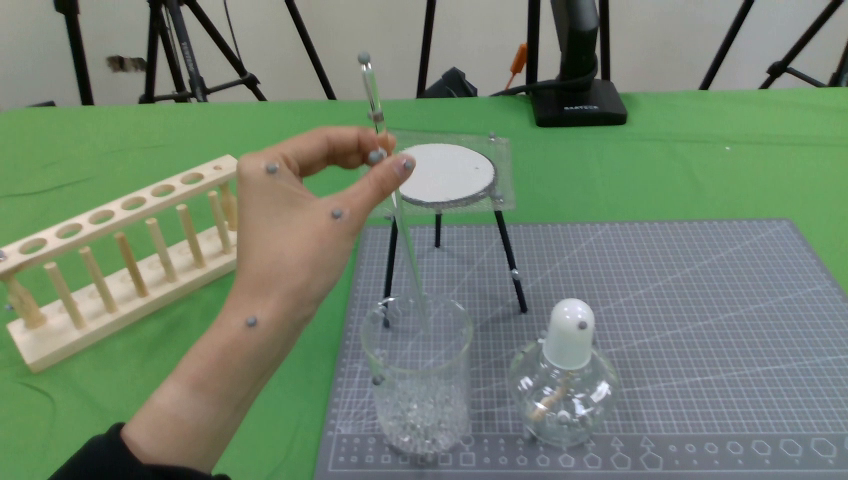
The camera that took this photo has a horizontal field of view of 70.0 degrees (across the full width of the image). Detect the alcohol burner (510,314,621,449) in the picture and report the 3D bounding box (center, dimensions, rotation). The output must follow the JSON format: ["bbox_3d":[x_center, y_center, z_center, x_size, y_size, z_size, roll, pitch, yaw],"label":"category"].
[{"bbox_3d":[0.099,0.090,0.420,0.078,0.120,0.077,-2,41,2],"label":"alcohol burner"}]

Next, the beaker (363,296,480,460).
[{"bbox_3d":[-0.002,0.099,0.428,0.074,0.101,0.083,-32,45,-32],"label":"beaker"}]

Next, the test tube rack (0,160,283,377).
[{"bbox_3d":[-0.261,0.017,0.568,0.242,0.086,0.066,-30,45,-30],"label":"test tube rack"}]

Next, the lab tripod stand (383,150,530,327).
[{"bbox_3d":[0.024,0.000,0.525,0.148,0.132,0.147,-1,37,1],"label":"lab tripod stand"}]

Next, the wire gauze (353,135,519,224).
[{"bbox_3d":[0.012,-0.051,0.483,0.121,0.011,0.124,1,39,4],"label":"wire gauze"}]

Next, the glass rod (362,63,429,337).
[{"bbox_3d":[-0.014,-0.010,0.361,0.008,0.201,0.008,-6,39,5],"label":"glass rod"}]

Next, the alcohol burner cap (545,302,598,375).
[{"bbox_3d":[0.099,0.062,0.397,0.034,0.048,0.033,0,40,0],"label":"alcohol burner cap"}]
